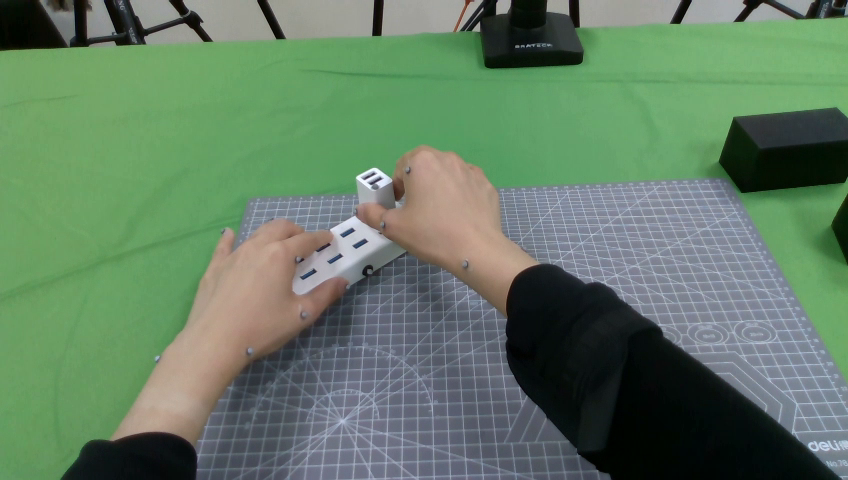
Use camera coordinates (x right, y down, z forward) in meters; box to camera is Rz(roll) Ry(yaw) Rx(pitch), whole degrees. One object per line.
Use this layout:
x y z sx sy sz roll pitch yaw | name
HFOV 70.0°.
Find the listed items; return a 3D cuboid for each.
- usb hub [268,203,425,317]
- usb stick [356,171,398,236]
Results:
-0.062 0.012 0.501 0.125 0.025 0.049 -31 49 -26 | usb hub
-0.037 -0.024 0.491 0.021 0.060 0.027 -33 48 -27 | usb stick
